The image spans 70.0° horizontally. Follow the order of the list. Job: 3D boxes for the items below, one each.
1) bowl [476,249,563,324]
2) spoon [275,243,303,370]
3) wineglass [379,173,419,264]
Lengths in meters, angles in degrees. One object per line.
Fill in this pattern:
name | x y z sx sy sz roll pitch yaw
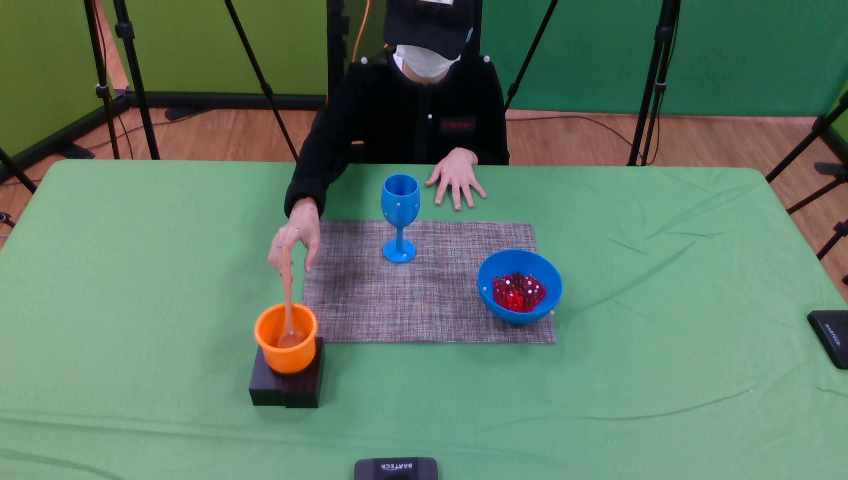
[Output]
bowl | 0.163 0.096 1.074 0.151 0.077 0.150 2 46 -2
spoon | -0.209 0.101 0.927 0.041 0.193 0.021 -2 2 -6
wineglass | -0.046 -0.036 1.120 0.074 0.173 0.073 2 46 -2
